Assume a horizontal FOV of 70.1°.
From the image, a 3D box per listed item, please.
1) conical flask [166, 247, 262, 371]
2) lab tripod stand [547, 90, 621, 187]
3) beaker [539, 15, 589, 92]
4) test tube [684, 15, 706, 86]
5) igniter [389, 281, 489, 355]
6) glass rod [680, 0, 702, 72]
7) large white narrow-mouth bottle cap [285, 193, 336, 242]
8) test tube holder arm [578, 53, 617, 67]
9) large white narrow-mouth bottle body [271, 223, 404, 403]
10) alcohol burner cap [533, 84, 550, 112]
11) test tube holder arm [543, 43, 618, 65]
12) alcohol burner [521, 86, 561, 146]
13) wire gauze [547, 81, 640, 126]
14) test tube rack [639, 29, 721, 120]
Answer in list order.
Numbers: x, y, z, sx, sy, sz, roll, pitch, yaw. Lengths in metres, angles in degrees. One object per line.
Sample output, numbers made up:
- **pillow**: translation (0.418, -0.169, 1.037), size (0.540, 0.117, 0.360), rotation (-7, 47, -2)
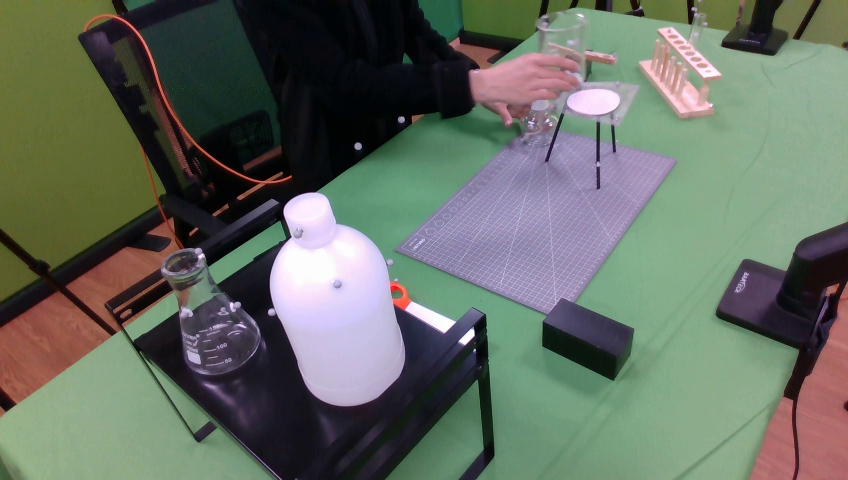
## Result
- **conical flask**: translation (-0.208, 0.064, 0.584), size (0.075, 0.122, 0.075), rotation (-5, 40, 4)
- **lab tripod stand**: translation (0.289, -0.184, 1.062), size (0.148, 0.132, 0.147), rotation (-6, 41, 6)
- **beaker**: translation (0.224, -0.294, 0.954), size (0.084, 0.101, 0.073), rotation (-25, 42, -17)
- **test tube**: translation (0.540, -0.378, 1.215), size (0.017, 0.151, 0.017), rotation (-2, 44, 3)
- **igniter**: translation (-0.030, 0.095, 0.871), size (0.274, 0.025, 0.057), rotation (22, 59, 31)
- **glass rod**: translation (0.542, -0.417, 1.233), size (0.008, 0.200, 0.008), rotation (1, 40, 0)
- **large white narrow-mouth bottle cap**: translation (-0.087, -0.018, 0.467), size (0.038, 0.024, 0.037), rotation (-5, 40, 4)
- **test tube holder arm**: translation (0.376, -0.393, 1.314), size (0.087, 0.015, 0.010), rotation (26, 51, 32)
- **large white narrow-mouth bottle body**: translation (-0.077, 0.048, 0.525), size (0.102, 0.195, 0.101), rotation (-5, 40, 5)
- **alcohol burner cap**: translation (0.218, -0.268, 1.132), size (0.034, 0.048, 0.033), rotation (-8, 36, 7)
- **test tube holder arm**: translation (0.345, -0.413, 1.341), size (0.177, 0.015, 0.013), rotation (25, 50, 31)
- **alcohol burner**: translation (0.224, -0.241, 1.155), size (0.078, 0.119, 0.077), rotation (-5, 42, 5)
- **wire gauze**: translation (0.286, -0.235, 1.019), size (0.124, 0.011, 0.121), rotation (17, 47, 28)
- **test tube rack**: translation (0.527, -0.351, 1.262), size (0.067, 0.085, 0.241), rotation (-8, 40, 1)
